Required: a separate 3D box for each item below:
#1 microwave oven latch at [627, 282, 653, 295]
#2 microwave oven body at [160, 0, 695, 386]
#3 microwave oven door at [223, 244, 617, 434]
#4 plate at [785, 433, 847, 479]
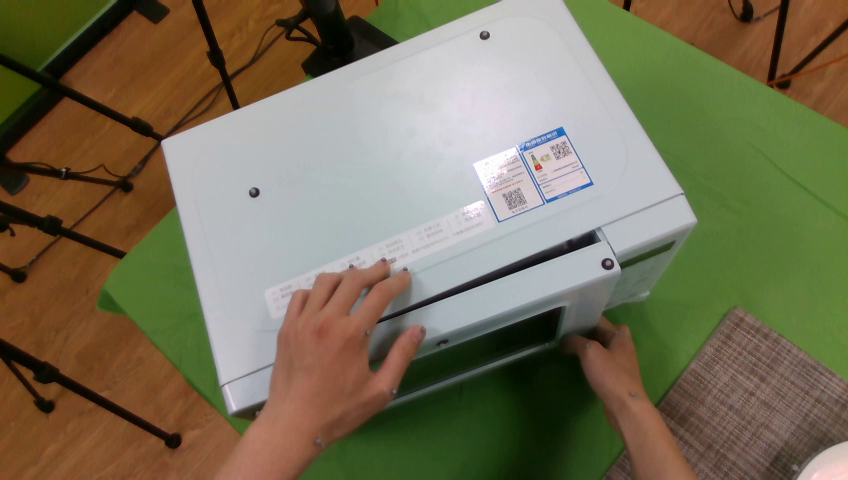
[{"bbox_3d":[0.229,0.053,0.723,0.079,0.030,0.030,-8,69,6],"label":"microwave oven latch"},{"bbox_3d":[-0.004,-0.031,0.686,0.442,0.262,0.323,-23,68,0],"label":"microwave oven body"},{"bbox_3d":[0.012,0.115,0.623,0.356,0.246,0.039,-21,66,1],"label":"microwave oven door"},{"bbox_3d":[0.463,0.301,0.609,0.207,0.039,0.206,-3,69,7],"label":"plate"}]
